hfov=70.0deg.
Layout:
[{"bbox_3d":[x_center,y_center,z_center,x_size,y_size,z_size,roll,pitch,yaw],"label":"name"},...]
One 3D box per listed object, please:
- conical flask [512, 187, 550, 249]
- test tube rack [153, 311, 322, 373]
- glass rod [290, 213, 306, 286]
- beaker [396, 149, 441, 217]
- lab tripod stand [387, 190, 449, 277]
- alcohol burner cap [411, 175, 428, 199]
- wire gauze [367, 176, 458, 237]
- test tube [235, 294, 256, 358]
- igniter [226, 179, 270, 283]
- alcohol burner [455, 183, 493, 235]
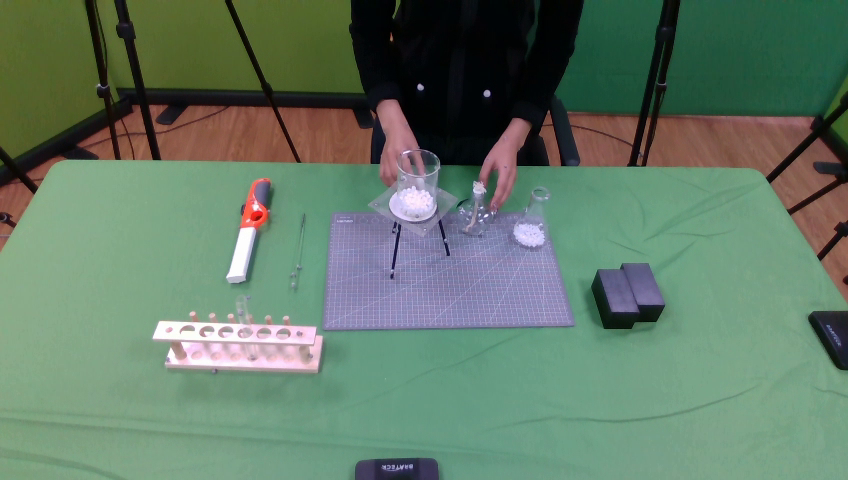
[{"bbox_3d":[0.217,-0.048,1.190,0.075,0.122,0.075,2,46,-2],"label":"conical flask"},{"bbox_3d":[-0.293,0.160,0.978,0.242,0.085,0.066,3,46,-2],"label":"test tube rack"},{"bbox_3d":[-0.244,0.015,1.175,0.008,0.008,0.198,1,44,-3],"label":"glass rod"},{"bbox_3d":[-0.015,-0.098,1.053,0.074,0.101,0.083,-31,55,-30],"label":"beaker"},{"bbox_3d":[-0.021,-0.018,1.135,0.148,0.132,0.147,3,44,-3],"label":"lab tripod stand"},{"bbox_3d":[-0.011,-0.107,1.209,0.034,0.048,0.033,-4,47,5],"label":"alcohol burner cap"},{"bbox_3d":[-0.020,-0.066,1.089,0.124,0.011,0.121,27,47,22],"label":"wire gauze"},{"bbox_3d":[-0.274,0.136,0.933,0.017,0.151,0.017,4,46,-4],"label":"test tube"},{"bbox_3d":[-0.345,-0.027,1.195,0.057,0.025,0.274,-6,46,5],"label":"igniter"},{"bbox_3d":[0.102,-0.066,1.205,0.078,0.119,0.077,4,45,-4],"label":"alcohol burner"}]
